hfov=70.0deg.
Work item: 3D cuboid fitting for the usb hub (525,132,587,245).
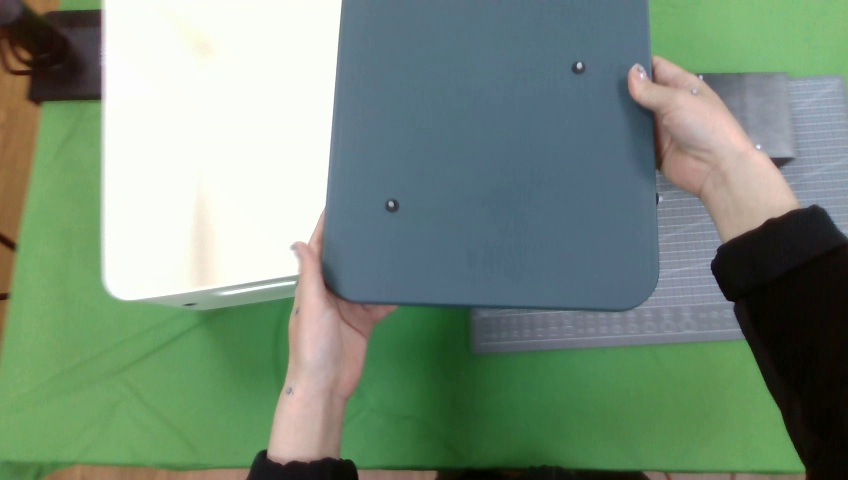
[{"bbox_3d":[0.150,-0.059,0.688,0.049,0.025,0.124,-8,78,2],"label":"usb hub"}]

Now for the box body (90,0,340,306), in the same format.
[{"bbox_3d":[-0.188,-0.121,0.655,0.254,0.161,0.362,-9,78,1],"label":"box body"}]

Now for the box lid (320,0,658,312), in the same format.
[{"bbox_3d":[0.054,-0.126,0.505,0.263,0.015,0.369,1,77,4],"label":"box lid"}]
